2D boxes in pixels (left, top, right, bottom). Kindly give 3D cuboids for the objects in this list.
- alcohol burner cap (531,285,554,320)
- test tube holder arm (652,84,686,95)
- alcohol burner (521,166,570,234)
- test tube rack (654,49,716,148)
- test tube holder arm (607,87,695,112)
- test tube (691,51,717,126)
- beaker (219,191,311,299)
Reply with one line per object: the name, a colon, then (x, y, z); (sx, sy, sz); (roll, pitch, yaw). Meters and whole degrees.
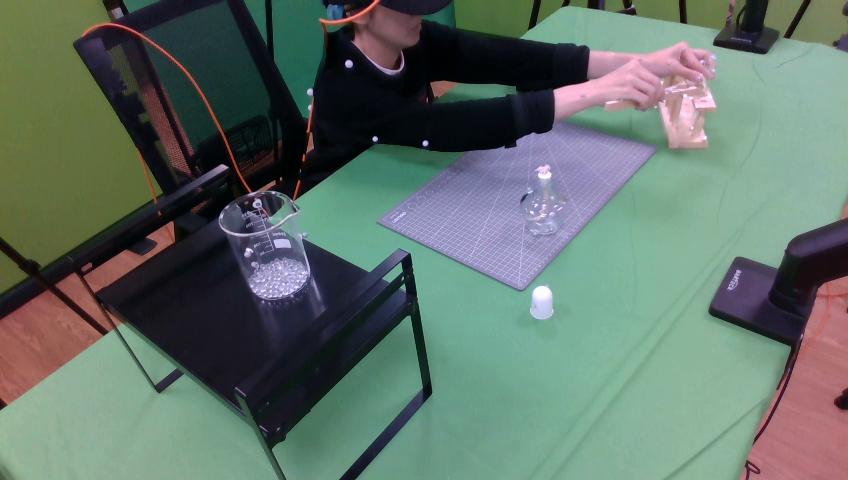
alcohol burner cap: (0.164, 0.084, 0.838); (0.034, 0.048, 0.033); (-4, 40, 4)
test tube holder arm: (0.416, -0.249, 1.028); (0.088, 0.015, 0.010); (-22, 35, -31)
alcohol burner: (0.192, -0.068, 0.951); (0.078, 0.119, 0.077); (-4, 42, 4)
test tube rack: (0.502, -0.281, 1.176); (0.066, 0.085, 0.241); (2, 41, 11)
test tube holder arm: (0.380, -0.235, 1.006); (0.179, 0.015, 0.013); (-15, 30, -21)
test tube: (0.500, -0.268, 1.084); (0.017, 0.151, 0.017); (-5, 45, 5)
beaker: (-0.164, 0.008, 0.654); (0.084, 0.101, 0.073); (-10, 41, -3)
